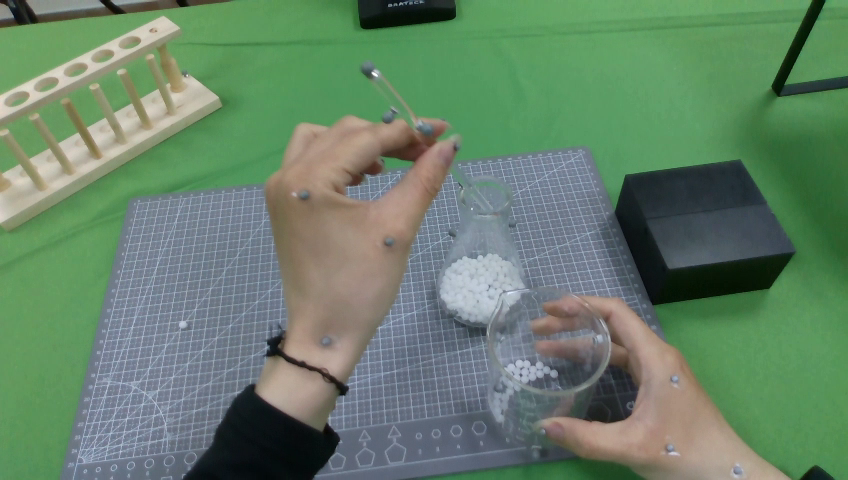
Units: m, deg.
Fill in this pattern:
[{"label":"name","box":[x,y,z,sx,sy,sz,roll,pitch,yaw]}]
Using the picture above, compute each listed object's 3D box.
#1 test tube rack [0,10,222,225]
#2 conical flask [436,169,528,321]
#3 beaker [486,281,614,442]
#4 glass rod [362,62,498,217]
[{"label":"test tube rack","box":[-0.333,-0.127,0.601,0.242,0.086,0.066,-40,60,-24]},{"label":"conical flask","box":[0.044,0.002,0.454,0.075,0.123,0.074,-2,53,3]},{"label":"beaker","box":[0.076,0.084,0.404,0.074,0.101,0.083,-29,55,-18]},{"label":"glass rod","box":[0.013,-0.047,0.350,0.008,0.201,0.008,-7,71,21]}]
